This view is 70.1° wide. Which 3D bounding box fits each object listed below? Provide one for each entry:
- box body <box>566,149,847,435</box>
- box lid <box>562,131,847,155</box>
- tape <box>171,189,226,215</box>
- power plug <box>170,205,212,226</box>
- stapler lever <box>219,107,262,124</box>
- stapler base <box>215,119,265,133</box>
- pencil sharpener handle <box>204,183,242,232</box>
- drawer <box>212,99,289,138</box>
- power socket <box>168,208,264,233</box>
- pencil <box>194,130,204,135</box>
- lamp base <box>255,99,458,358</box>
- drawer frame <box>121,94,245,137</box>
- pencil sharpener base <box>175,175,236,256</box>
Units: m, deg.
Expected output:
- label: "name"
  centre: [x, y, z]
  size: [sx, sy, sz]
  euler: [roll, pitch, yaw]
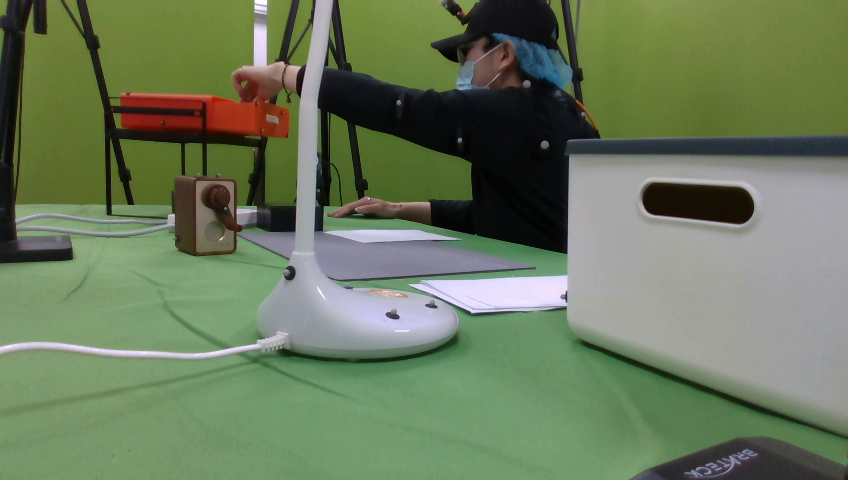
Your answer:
- label: "box body"
  centre: [0.317, 0.009, 0.472]
  size: [0.366, 0.160, 0.253]
  euler: [-2, 8, -31]
- label: "box lid"
  centre: [0.322, -0.064, 0.463]
  size: [0.373, 0.015, 0.262]
  euler: [-2, 9, -31]
- label: "tape"
  centre: [-0.516, -0.088, 1.388]
  size: [0.117, 0.052, 0.117]
  euler: [3, 8, 0]
- label: "power plug"
  centre: [-0.455, -0.041, 1.196]
  size: [0.052, 0.035, 0.072]
  euler: [1, 43, 24]
- label: "stapler lever"
  centre: [-0.411, -0.284, 1.366]
  size: [0.027, 0.040, 0.118]
  euler: [5, 8, 23]
- label: "stapler base"
  centre: [-0.412, -0.260, 1.370]
  size: [0.041, 0.024, 0.131]
  euler: [5, 8, 23]
- label: "pencil sharpener handle"
  centre: [-0.265, -0.043, 0.813]
  size: [0.036, 0.068, 0.030]
  euler: [-32, 28, -35]
- label: "drawer"
  centre: [-0.437, -0.274, 1.366]
  size: [0.211, 0.073, 0.194]
  euler: [3, 8, 8]
- label: "power socket"
  centre: [-0.381, -0.038, 1.129]
  size: [0.072, 0.032, 0.227]
  euler: [4, 8, 16]
- label: "pencil"
  centre: [-0.427, -0.252, 1.351]
  size: [0.012, 0.012, 0.195]
  euler: [8, 20, 37]
- label: "lamp base"
  centre: [-0.056, -0.013, 0.462]
  size: [0.160, 0.180, 0.180]
  euler: [6, 11, 27]
- label: "drawer frame"
  centre: [-0.529, -0.281, 1.376]
  size: [0.213, 0.082, 0.202]
  euler: [3, 8, 7]
- label: "pencil sharpener base"
  centre: [-0.305, -0.036, 0.847]
  size: [0.062, 0.107, 0.076]
  euler: [-4, 10, -42]
